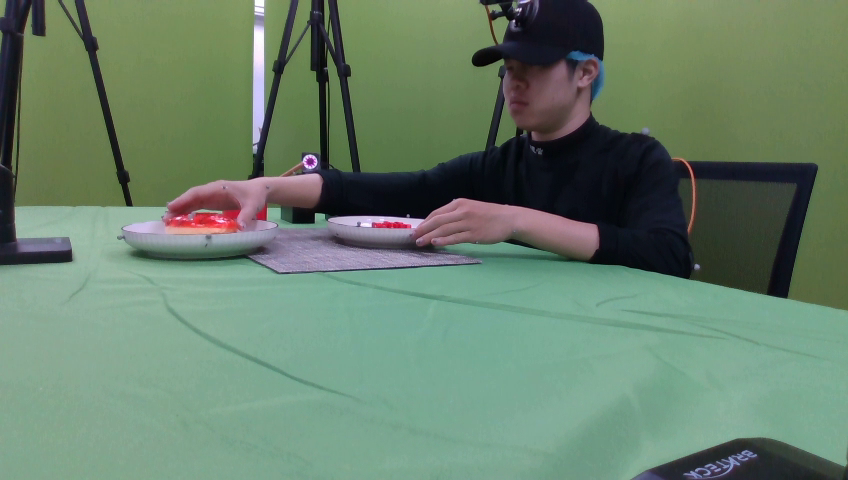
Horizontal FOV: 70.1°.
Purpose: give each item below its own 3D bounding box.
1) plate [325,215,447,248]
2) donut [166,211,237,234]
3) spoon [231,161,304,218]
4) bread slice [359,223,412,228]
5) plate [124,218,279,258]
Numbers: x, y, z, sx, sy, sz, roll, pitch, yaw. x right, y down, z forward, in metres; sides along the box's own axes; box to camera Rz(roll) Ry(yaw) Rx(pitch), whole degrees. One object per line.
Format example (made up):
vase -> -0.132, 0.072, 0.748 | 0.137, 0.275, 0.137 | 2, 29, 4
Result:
plate -> -0.065, -0.015, 1.035 | 0.209, 0.038, 0.209 | 3, 8, 0
donut -> -0.323, -0.017, 0.881 | 0.099, 0.048, 0.099 | 0, 7, 0
spoon -> -0.314, -0.096, 1.192 | 0.194, 0.022, 0.041 | -42, 13, -5
bread slice -> -0.062, -0.012, 1.034 | 0.105, 0.019, 0.131 | 1, 9, -19
plate -> -0.315, -0.004, 0.871 | 0.208, 0.039, 0.207 | 1, 8, 0
